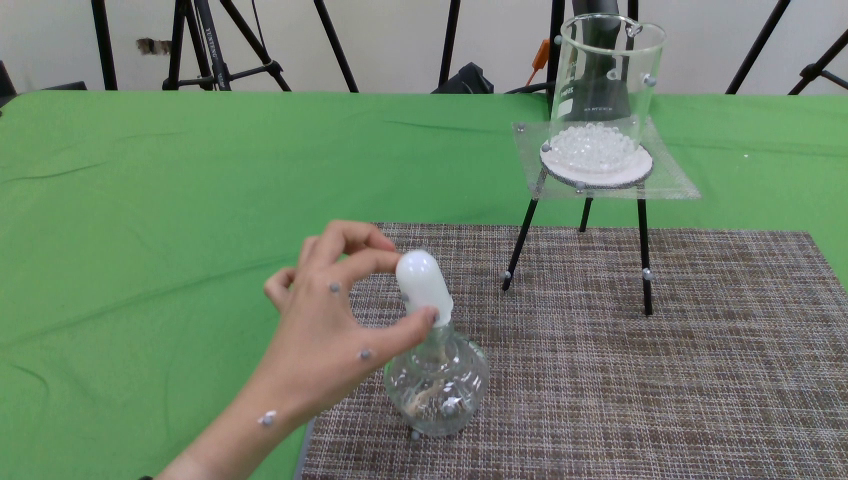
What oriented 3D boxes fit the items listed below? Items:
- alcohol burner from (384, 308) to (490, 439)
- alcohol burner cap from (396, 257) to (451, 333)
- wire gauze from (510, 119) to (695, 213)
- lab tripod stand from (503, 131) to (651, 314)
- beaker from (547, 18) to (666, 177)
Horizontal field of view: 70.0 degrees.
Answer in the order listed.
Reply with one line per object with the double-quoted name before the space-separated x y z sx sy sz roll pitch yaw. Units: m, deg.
"alcohol burner" 0.009 0.086 0.427 0.078 0.120 0.077 0 40 1
"alcohol burner cap" -0.003 0.033 0.389 0.034 0.048 0.033 -8 38 7
"wire gauze" 0.137 -0.063 0.484 0.125 0.011 0.120 1 41 -2
"lab tripod stand" 0.144 -0.015 0.529 0.148 0.132 0.147 0 39 0
"beaker" 0.135 -0.107 0.460 0.073 0.101 0.084 26 46 29
